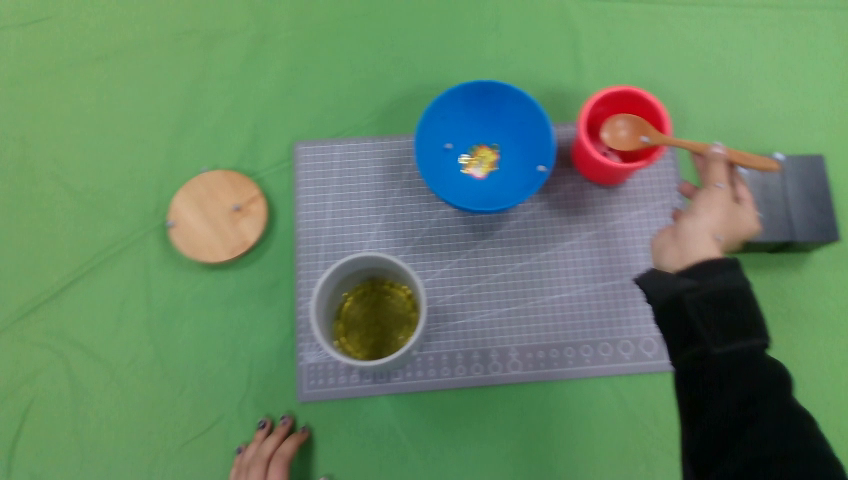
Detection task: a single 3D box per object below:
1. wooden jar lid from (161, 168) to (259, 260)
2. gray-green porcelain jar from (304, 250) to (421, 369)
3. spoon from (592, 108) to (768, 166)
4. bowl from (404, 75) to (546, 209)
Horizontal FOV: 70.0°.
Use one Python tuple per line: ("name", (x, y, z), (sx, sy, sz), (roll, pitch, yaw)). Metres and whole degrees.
("wooden jar lid", (-0.240, -0.028, 0.686), (0.108, 0.021, 0.108), (0, 76, 0))
("gray-green porcelain jar", (-0.056, 0.074, 0.604), (0.106, 0.127, 0.105), (0, 76, 0))
("spoon", (0.246, -0.099, 0.604), (0.022, 0.192, 0.041), (21, 97, -37))
("bowl", (0.054, -0.096, 0.672), (0.151, 0.077, 0.150), (0, 76, 0))
